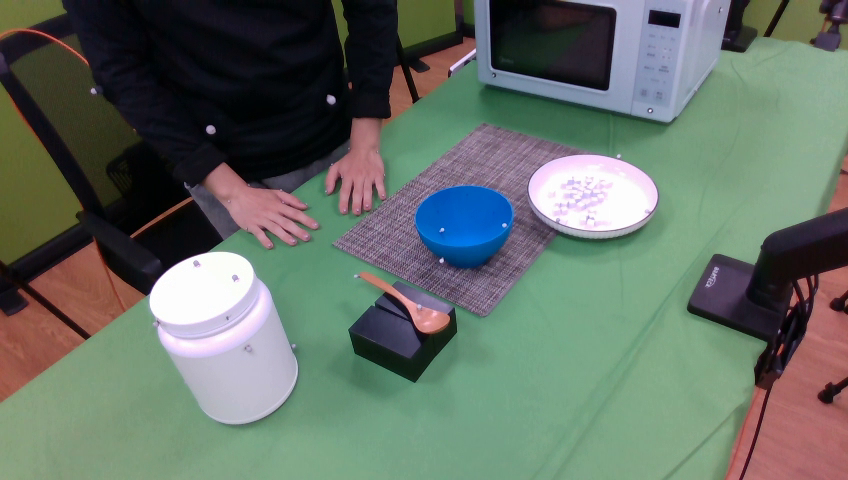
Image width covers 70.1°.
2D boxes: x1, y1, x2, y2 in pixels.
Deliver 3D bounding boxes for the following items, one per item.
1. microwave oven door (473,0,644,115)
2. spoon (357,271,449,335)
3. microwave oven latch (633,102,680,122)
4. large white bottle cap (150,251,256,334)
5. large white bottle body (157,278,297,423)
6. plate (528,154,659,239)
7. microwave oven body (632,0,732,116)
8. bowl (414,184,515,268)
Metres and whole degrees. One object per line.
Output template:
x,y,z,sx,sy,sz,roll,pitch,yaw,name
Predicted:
0.257,-0.396,1.199,0.353,0.245,0.039,21,48,29,microwave oven door
-0.034,0.078,0.812,0.042,0.022,0.192,-36,43,-23,spoon
0.444,-0.249,1.157,0.078,0.029,0.030,21,49,30,microwave oven latch
-0.248,0.056,0.680,0.115,0.018,0.114,-4,41,4,large white bottle cap
-0.239,0.120,0.735,0.130,0.185,0.130,-4,41,4,large white bottle body
0.274,-0.069,0.993,0.209,0.038,0.208,-2,42,2,plate
0.377,-0.463,1.267,0.438,0.261,0.327,21,49,30,microwave oven body
0.063,-0.010,0.922,0.151,0.077,0.150,-4,40,4,bowl
